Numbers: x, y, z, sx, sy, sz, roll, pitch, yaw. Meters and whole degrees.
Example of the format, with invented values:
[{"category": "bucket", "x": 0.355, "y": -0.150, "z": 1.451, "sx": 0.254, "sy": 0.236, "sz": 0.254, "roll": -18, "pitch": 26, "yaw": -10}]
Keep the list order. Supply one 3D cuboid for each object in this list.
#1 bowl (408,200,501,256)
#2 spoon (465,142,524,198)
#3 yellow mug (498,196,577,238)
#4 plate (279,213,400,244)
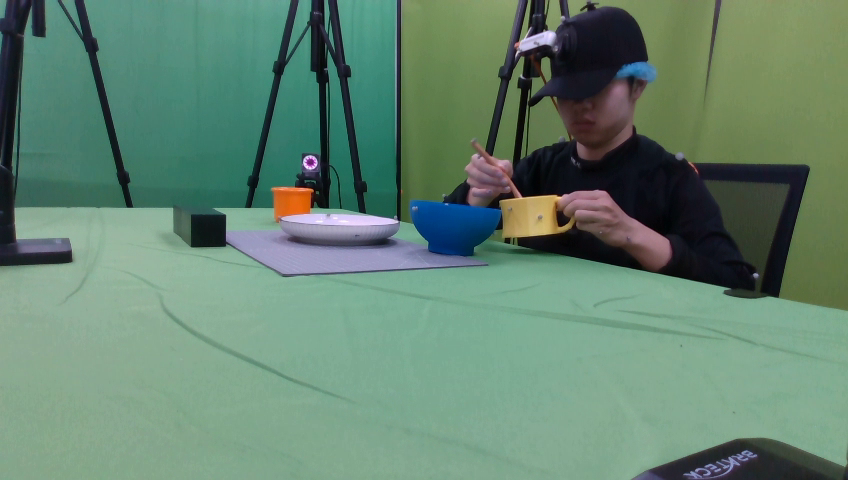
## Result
[{"category": "bowl", "x": 0.045, "y": -0.019, "z": 0.967, "sx": 0.151, "sy": 0.077, "sz": 0.151, "roll": 6, "pitch": 5, "yaw": 0}, {"category": "spoon", "x": 0.138, "y": -0.095, "z": 1.014, "sx": 0.021, "sy": 0.193, "sz": 0.041, "roll": -41, "pitch": -3, "yaw": -10}, {"category": "yellow mug", "x": 0.193, "y": -0.040, "z": 1.023, "sx": 0.130, "sy": 0.064, "sz": 0.100, "roll": -4, "pitch": 1, "yaw": 26}, {"category": "plate", "x": -0.147, "y": -0.020, "z": 1.060, "sx": 0.209, "sy": 0.038, "sz": 0.209, "roll": 3, "pitch": 7, "yaw": 0}]
